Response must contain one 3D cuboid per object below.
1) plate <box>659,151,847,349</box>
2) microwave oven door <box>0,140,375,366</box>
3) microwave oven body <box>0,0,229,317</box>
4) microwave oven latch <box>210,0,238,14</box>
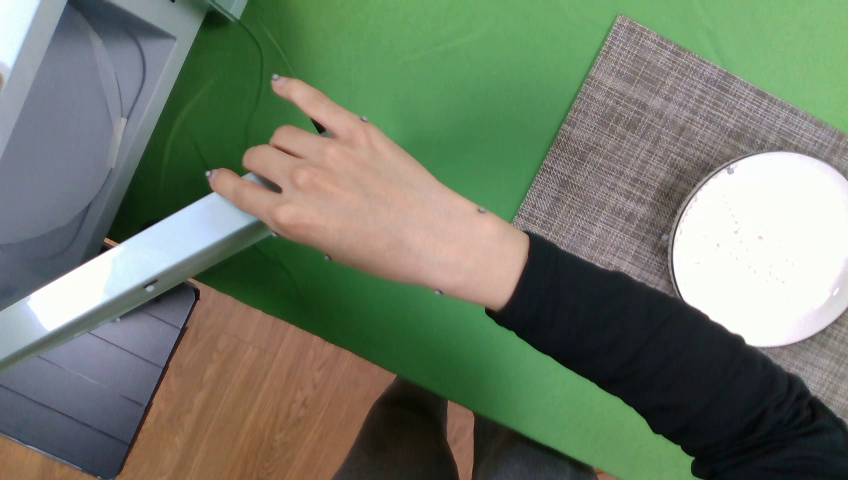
[{"bbox_3d":[0.350,0.011,0.642,0.209,0.038,0.209,0,97,0],"label":"plate"},{"bbox_3d":[-0.215,0.010,0.518,0.356,0.243,0.039,-28,95,3],"label":"microwave oven door"},{"bbox_3d":[-0.397,-0.164,0.499,0.326,0.259,0.442,27,96,-4],"label":"microwave oven body"},{"bbox_3d":[-0.184,-0.263,0.586,0.030,0.029,0.079,29,96,-4],"label":"microwave oven latch"}]
